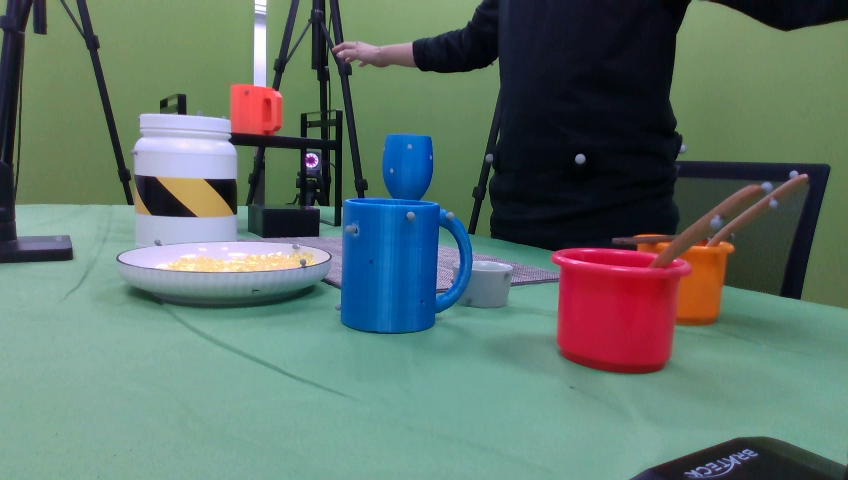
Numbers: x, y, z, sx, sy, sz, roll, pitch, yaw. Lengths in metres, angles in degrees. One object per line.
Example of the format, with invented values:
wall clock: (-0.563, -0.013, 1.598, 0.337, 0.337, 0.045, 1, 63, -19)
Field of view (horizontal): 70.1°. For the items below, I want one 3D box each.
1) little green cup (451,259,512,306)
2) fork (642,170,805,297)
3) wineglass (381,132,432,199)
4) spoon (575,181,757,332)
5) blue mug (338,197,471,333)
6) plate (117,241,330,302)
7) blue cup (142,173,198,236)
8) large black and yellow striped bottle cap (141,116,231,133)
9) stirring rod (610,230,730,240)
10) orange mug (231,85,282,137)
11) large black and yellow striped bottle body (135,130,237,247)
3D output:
little green cup: (0.057, 0.043, 0.611, 0.061, 0.038, 0.061, 3, 7, 0)
fork: (0.261, 0.004, 0.545, 0.028, 0.018, 0.207, 6, -38, -15)
wineglass: (-0.026, -0.062, 0.841, 0.074, 0.172, 0.073, 2, 7, 0)
spoon: (0.156, 0.020, 0.411, 0.042, 0.021, 0.193, 1, -36, -15)
blue mug: (-0.016, 0.018, 0.523, 0.117, 0.106, 0.082, 1, 7, -13)
plate: (-0.203, 0.031, 0.629, 0.209, 0.038, 0.209, 3, 7, 0)
blue cup: (-0.425, -0.060, 1.014, 0.093, 0.100, 0.092, 4, 9, 0)
large black and yellow striped bottle cap: (-0.324, -0.157, 0.826, 0.115, 0.019, 0.115, 1, 7, 0)
stirring rod: (0.241, -0.005, 0.582, 0.177, 0.006, 0.014, -2, 9, -34)
orange mug: (-0.335, -0.261, 1.225, 0.125, 0.100, 0.084, 2, 6, 35)
large black and yellow striped bottle body: (-0.327, -0.074, 0.838, 0.131, 0.184, 0.130, 2, 7, 0)
